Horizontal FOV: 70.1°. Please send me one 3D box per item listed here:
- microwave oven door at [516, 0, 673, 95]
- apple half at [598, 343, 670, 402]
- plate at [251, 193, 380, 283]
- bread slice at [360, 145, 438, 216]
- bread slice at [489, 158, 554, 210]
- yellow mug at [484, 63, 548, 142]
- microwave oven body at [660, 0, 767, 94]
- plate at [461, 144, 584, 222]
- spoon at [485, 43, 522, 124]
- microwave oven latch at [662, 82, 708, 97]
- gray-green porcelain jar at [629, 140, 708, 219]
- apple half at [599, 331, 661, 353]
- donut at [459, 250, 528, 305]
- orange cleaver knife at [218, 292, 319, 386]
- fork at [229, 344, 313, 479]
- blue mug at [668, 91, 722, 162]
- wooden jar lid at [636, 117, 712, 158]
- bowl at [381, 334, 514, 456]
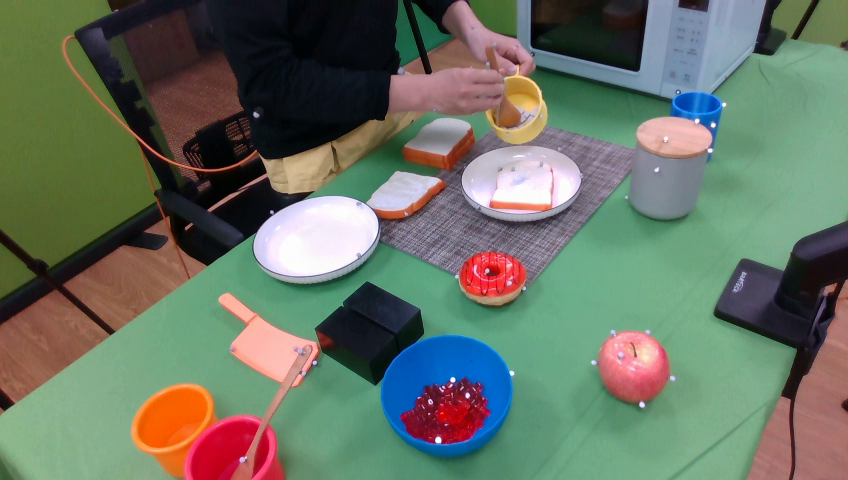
[{"bbox_3d":[0.344,-0.458,1.257,0.353,0.245,0.039,26,52,33],"label":"microwave oven door"},{"bbox_3d":[0.247,0.161,0.710,0.081,0.075,0.053,2,47,5],"label":"apple half"},{"bbox_3d":[-0.173,-0.001,0.984,0.209,0.038,0.208,-4,41,4],"label":"plate"},{"bbox_3d":[-0.053,-0.103,1.046,0.106,0.018,0.134,18,66,23],"label":"bread slice"},{"bbox_3d":[0.173,-0.099,1.047,0.104,0.019,0.131,4,43,12],"label":"bread slice"},{"bbox_3d":[0.161,-0.242,1.045,0.099,0.064,0.130,1,81,20],"label":"yellow mug"},{"bbox_3d":[0.473,-0.516,1.313,0.438,0.261,0.327,26,51,34],"label":"microwave oven body"},{"bbox_3d":[0.168,-0.095,1.040,0.207,0.039,0.206,-4,40,4],"label":"plate"},{"bbox_3d":[0.123,-0.246,0.974,0.041,0.195,0.021,-15,56,13],"label":"spoon"},{"bbox_3d":[0.518,-0.298,1.203,0.078,0.029,0.030,28,53,35],"label":"microwave oven latch"},{"bbox_3d":[0.383,-0.104,0.958,0.106,0.127,0.105,-4,41,4],"label":"gray-green porcelain jar"},{"bbox_3d":[0.249,0.134,0.738,0.081,0.081,0.032,-1,46,7],"label":"apple half"},{"bbox_3d":[0.100,0.053,0.873,0.099,0.048,0.098,-5,40,4],"label":"donut"},{"bbox_3d":[-0.234,0.136,0.850,0.209,0.012,0.077,25,56,30],"label":"orange cleaver knife"},{"bbox_3d":[-0.173,0.205,0.662,0.028,0.019,0.207,29,94,35],"label":"fork"},{"bbox_3d":[0.474,-0.207,1.078,0.082,0.106,0.116,4,42,13],"label":"blue mug"},{"bbox_3d":[0.377,-0.151,0.917,0.108,0.021,0.108,-2,42,3],"label":"wooden jar lid"},{"bbox_3d":[0.029,0.192,0.701,0.151,0.077,0.150,-4,40,4],"label":"bowl"}]
